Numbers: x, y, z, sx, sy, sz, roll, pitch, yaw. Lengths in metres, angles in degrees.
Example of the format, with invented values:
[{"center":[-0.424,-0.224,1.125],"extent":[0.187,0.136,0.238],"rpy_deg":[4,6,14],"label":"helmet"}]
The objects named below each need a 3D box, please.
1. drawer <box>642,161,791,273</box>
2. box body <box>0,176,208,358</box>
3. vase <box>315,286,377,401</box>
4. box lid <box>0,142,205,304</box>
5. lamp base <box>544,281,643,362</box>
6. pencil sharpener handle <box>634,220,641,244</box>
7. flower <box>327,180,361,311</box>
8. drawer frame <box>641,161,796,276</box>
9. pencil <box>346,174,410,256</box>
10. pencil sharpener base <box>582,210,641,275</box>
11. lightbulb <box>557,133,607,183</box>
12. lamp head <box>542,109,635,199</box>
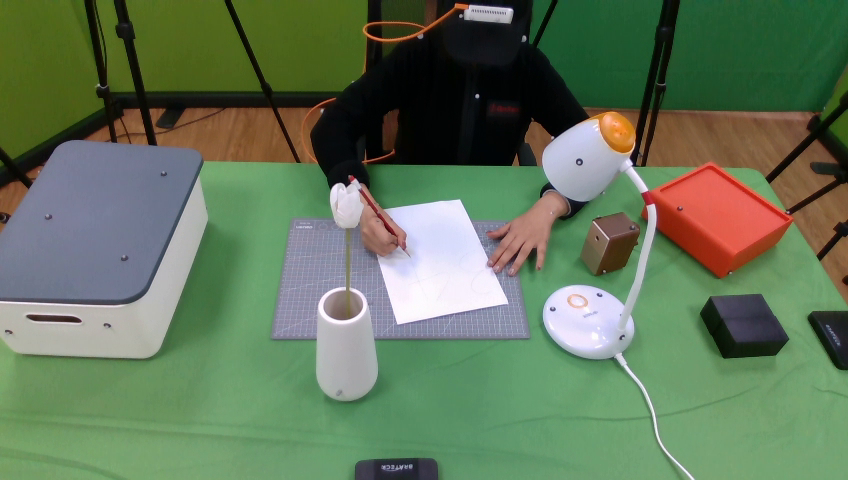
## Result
[{"center":[0.596,-0.051,1.246],"extent":[0.194,0.073,0.210],"rpy_deg":[-23,52,-25],"label":"drawer"},{"center":[-0.546,0.017,1.045],"extent":[0.254,0.161,0.361],"rpy_deg":[2,46,-2],"label":"box body"},{"center":[-0.119,0.159,0.911],"extent":[0.098,0.201,0.097],"rpy_deg":[2,47,-2],"label":"vase"},{"center":[-0.534,-0.044,0.995],"extent":[0.263,0.015,0.369],"rpy_deg":[3,45,-3],"label":"box lid"},{"center":[0.303,0.095,1.014],"extent":[0.161,0.181,0.178],"rpy_deg":[-24,54,-24],"label":"lamp base"},{"center":[0.405,-0.015,1.162],"extent":[0.031,0.068,0.035],"rpy_deg":[-15,45,-17],"label":"pencil sharpener handle"},{"center":[-0.111,0.086,0.867],"extent":[0.044,0.363,0.038],"rpy_deg":[22,33,36],"label":"flower"},{"center":[0.599,-0.051,1.244],"extent":[0.202,0.083,0.212],"rpy_deg":[-24,53,-25],"label":"drawer frame"},{"center":[-0.084,-0.045,1.146],"extent":[0.194,0.012,0.012],"rpy_deg":[53,52,-13],"label":"pencil"},{"center":[0.357,0.005,1.156],"extent":[0.077,0.107,0.061],"rpy_deg":[-15,48,-18],"label":"pencil sharpener base"},{"center":[0.243,-0.127,0.917],"extent":[0.059,0.108,0.059],"rpy_deg":[6,67,-14],"label":"lightbulb"},{"center":[0.253,-0.131,0.893],"extent":[0.113,0.123,0.112],"rpy_deg":[10,66,-24],"label":"lamp head"}]
